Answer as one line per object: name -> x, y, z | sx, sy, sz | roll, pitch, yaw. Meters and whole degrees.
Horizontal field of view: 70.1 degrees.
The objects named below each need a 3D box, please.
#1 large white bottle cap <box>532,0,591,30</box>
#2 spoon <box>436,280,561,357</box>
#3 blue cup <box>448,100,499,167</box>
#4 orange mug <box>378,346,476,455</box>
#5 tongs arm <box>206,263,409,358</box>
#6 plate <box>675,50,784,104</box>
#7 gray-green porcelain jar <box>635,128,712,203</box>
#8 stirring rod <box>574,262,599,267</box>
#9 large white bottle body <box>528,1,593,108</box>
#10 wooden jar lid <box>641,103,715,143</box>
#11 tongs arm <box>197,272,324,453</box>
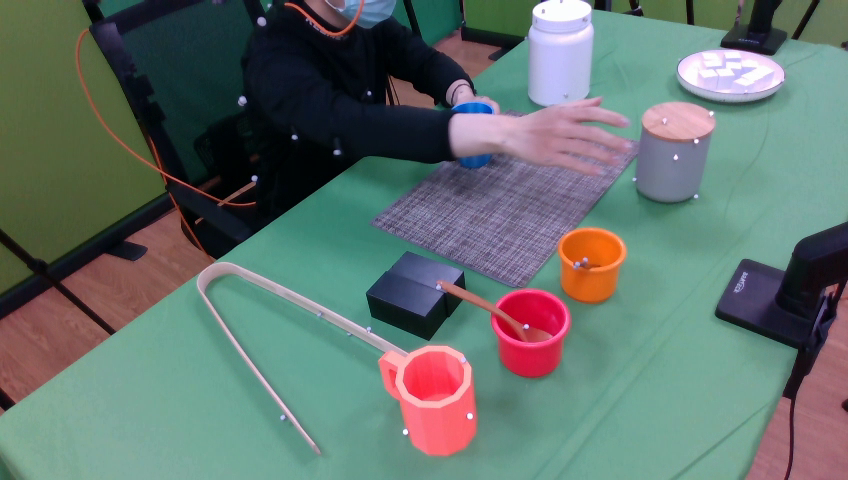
large white bottle cap -> 0.274, -0.449, 1.204 | 0.115, 0.018, 0.114 | -4, 41, 4
spoon -> 0.096, 0.095, 0.758 | 0.195, 0.021, 0.041 | 34, 41, -20
blue cup -> 0.092, -0.193, 1.121 | 0.092, 0.101, 0.092 | -5, 42, 5
orange mug -> 0.002, 0.179, 0.708 | 0.125, 0.101, 0.083 | 25, 50, 27
tongs arm -> -0.179, 0.107, 0.870 | 0.381, 0.026, 0.051 | 23, 54, 32
plate -> 0.632, -0.336, 1.262 | 0.207, 0.039, 0.206 | -4, 41, 4
gray-green porcelain jar -> 0.405, -0.133, 0.992 | 0.106, 0.127, 0.105 | -4, 40, 4
stirring rod -> 0.221, 0.033, 0.817 | 0.014, 0.006, 0.177 | 8, 1, 22
large white bottle body -> 0.283, -0.386, 1.259 | 0.130, 0.185, 0.130 | -5, 41, 5
wooden jar lid -> 0.398, -0.180, 0.952 | 0.108, 0.021, 0.108 | -4, 43, 4
tongs arm -> -0.236, 0.154, 0.830 | 0.028, 0.028, 0.384 | -37, 47, -18
